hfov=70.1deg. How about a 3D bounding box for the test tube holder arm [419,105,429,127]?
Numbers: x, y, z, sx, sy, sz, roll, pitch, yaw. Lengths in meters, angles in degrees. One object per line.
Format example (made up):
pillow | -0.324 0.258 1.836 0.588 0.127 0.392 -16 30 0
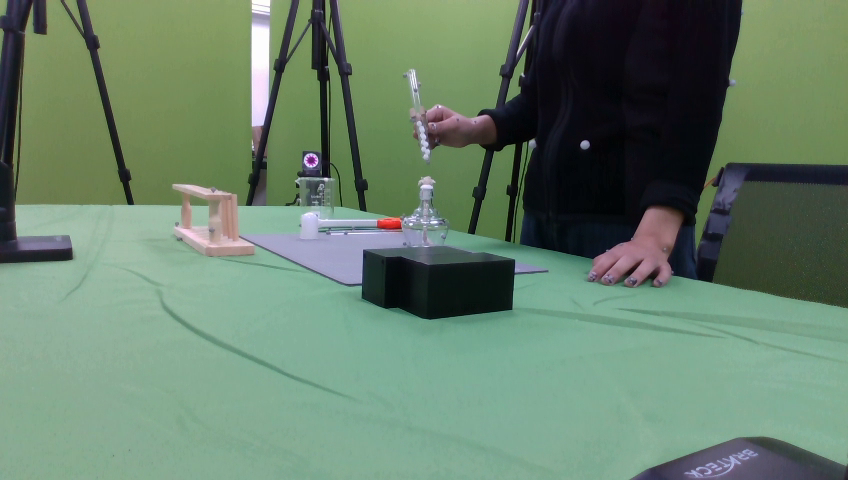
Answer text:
test tube holder arm | 0.001 -0.198 0.971 0.010 0.015 0.088 -8 -5 3

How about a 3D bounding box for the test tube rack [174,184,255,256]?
test tube rack | -0.327 -0.036 0.928 0.067 0.085 0.241 -2 9 -32

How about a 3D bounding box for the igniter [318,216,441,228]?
igniter | -0.090 -0.036 1.222 0.278 0.025 0.057 -2 -2 -32

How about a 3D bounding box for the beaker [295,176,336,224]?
beaker | -0.224 -0.080 1.247 0.084 0.100 0.073 -1 8 -18

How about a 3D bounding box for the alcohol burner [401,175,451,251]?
alcohol burner | 0.003 -0.042 0.947 0.078 0.119 0.078 1 9 0

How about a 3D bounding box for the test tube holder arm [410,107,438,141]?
test tube holder arm | 0.002 -0.193 1.016 0.013 0.015 0.179 -8 -5 11

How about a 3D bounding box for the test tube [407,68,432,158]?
test tube | -0.007 -0.200 0.949 0.017 0.150 0.017 -10 -10 -2

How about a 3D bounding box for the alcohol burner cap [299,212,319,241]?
alcohol burner cap | -0.195 -0.024 1.025 0.034 0.048 0.034 3 7 0

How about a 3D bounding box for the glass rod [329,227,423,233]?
glass rod | -0.087 -0.019 1.148 0.201 0.008 0.008 -3 8 -32
